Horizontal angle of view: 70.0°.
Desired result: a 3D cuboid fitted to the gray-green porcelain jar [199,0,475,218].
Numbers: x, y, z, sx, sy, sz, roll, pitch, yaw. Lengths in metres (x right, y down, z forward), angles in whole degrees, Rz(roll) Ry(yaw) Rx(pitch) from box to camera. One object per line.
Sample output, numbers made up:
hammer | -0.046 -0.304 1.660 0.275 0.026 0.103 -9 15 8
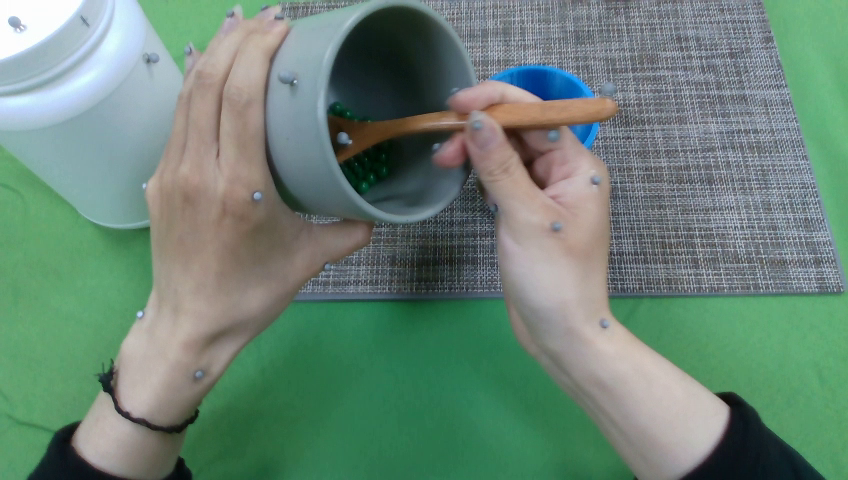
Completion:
gray-green porcelain jar | -0.053 -0.068 0.331 0.125 0.107 0.105 8 60 45

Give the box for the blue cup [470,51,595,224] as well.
blue cup | 0.071 -0.060 0.431 0.092 0.101 0.092 -2 63 5

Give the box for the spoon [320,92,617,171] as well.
spoon | -0.001 -0.057 0.315 0.193 0.022 0.041 -6 55 25

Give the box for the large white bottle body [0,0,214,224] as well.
large white bottle body | -0.245 -0.107 0.436 0.130 0.186 0.129 -2 64 4

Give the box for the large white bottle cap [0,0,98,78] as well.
large white bottle cap | -0.252 -0.144 0.360 0.115 0.018 0.114 -2 65 4
